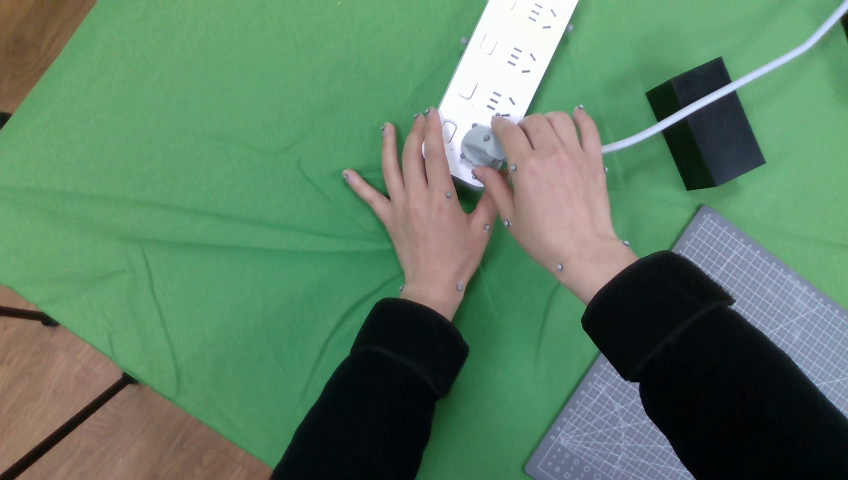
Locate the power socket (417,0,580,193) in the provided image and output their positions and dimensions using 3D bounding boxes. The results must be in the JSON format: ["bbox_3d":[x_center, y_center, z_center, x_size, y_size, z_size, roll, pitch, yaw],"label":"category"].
[{"bbox_3d":[0.067,-0.147,0.533,0.072,0.032,0.226,26,89,-6],"label":"power socket"}]

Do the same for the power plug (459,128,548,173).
[{"bbox_3d":[0.062,-0.066,0.513,0.072,0.052,0.035,38,87,-3],"label":"power plug"}]
